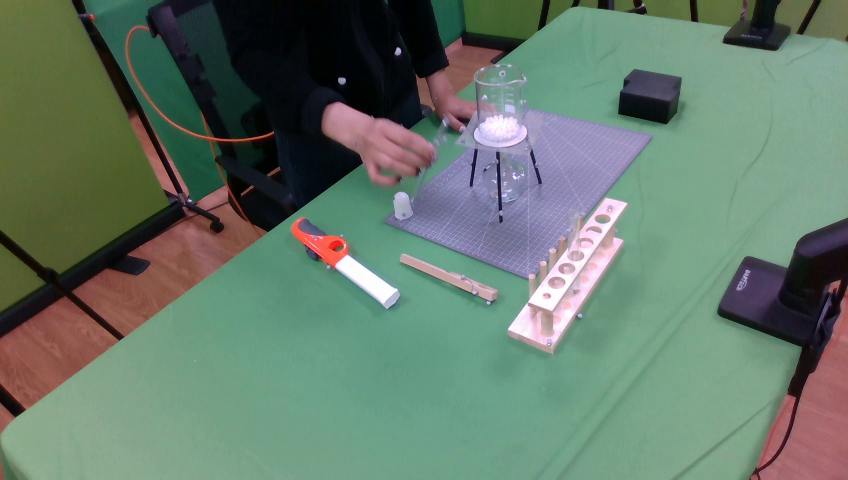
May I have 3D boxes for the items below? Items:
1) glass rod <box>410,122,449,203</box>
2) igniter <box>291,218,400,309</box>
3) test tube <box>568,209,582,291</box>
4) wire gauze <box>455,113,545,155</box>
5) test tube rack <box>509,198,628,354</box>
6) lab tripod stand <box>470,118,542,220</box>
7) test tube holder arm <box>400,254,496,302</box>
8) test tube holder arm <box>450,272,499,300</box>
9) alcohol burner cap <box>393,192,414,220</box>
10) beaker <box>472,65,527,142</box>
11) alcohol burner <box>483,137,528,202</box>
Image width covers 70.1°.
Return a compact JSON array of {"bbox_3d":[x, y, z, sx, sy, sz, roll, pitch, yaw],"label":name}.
[{"bbox_3d":[0.006,-0.104,0.858,0.008,0.199,0.008,7,62,-12],"label":"glass rod"},{"bbox_3d":[-0.136,0.031,0.970,0.057,0.025,0.274,-41,49,-19],"label":"igniter"},{"bbox_3d":[0.200,0.017,0.799,0.017,0.151,0.017,-8,45,8],"label":"test tube"},{"bbox_3d":[0.124,-0.175,0.973,0.124,0.011,0.121,8,39,21],"label":"wire gauze"},{"bbox_3d":[0.206,0.039,0.850,0.066,0.085,0.243,20,48,31],"label":"test tube rack"},{"bbox_3d":[0.135,-0.128,1.019,0.148,0.132,0.147,-5,38,5],"label":"lab tripod stand"},{"bbox_3d":[0.033,0.055,0.914,0.177,0.015,0.013,21,17,33],"label":"test tube holder arm"},{"bbox_3d":[0.071,0.068,0.895,0.087,0.015,0.010,21,17,33],"label":"test tube holder arm"},{"bbox_3d":[-0.038,-0.060,1.043,0.034,0.048,0.033,-6,40,5],"label":"alcohol burner cap"},{"bbox_3d":[0.120,-0.211,0.942,0.083,0.101,0.074,10,42,22],"label":"beaker"},{"bbox_3d":[0.138,-0.125,1.030,0.078,0.119,0.077,-4,41,4],"label":"alcohol burner"}]
